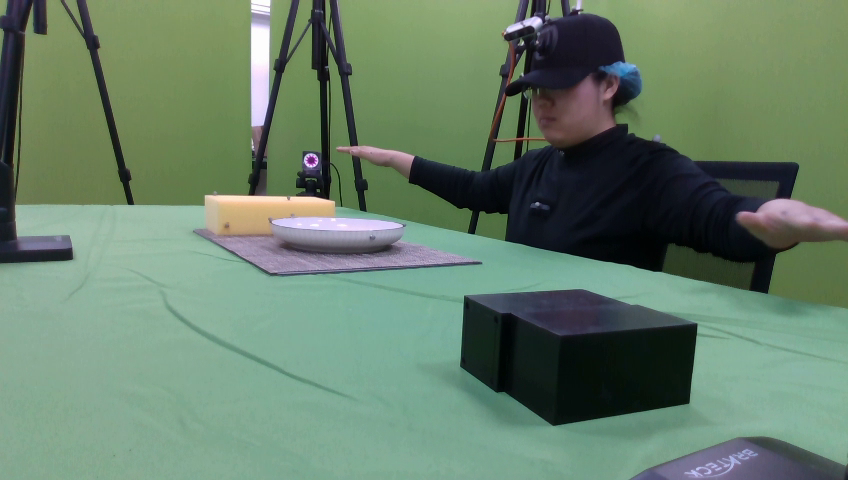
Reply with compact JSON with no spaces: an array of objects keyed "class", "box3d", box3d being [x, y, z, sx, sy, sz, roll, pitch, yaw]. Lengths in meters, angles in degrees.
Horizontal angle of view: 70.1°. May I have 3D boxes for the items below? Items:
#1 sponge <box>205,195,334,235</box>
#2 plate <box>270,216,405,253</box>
[{"class":"sponge","box3d":[-0.280,-0.047,1.097,0.208,0.061,0.117,-2,8,-30]},{"class":"plate","box3d":[-0.134,-0.010,0.946,0.208,0.039,0.207,2,7,0]}]
